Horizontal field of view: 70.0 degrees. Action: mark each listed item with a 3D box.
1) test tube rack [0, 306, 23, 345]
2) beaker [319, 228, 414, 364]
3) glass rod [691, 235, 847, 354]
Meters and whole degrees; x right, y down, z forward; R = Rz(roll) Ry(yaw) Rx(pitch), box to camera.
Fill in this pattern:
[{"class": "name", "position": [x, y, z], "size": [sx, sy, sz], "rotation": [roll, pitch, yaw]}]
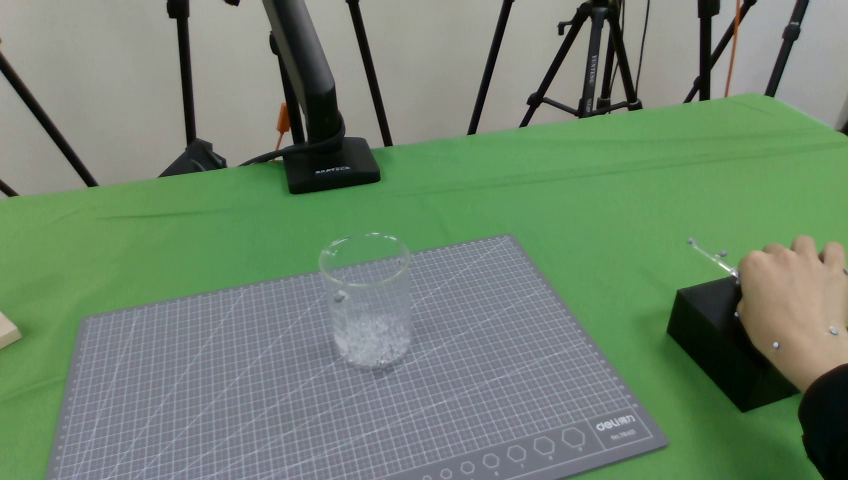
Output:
[{"class": "test tube rack", "position": [-0.477, 0.097, 0.484], "size": [0.066, 0.086, 0.242], "rotation": [25, 43, 31]}, {"class": "beaker", "position": [-0.049, 0.050, 0.521], "size": [0.083, 0.101, 0.074], "rotation": [20, 41, 28]}, {"class": "glass rod", "position": [0.301, 0.050, 0.512], "size": [0.008, 0.008, 0.197], "rotation": [-17, 40, -20]}]
